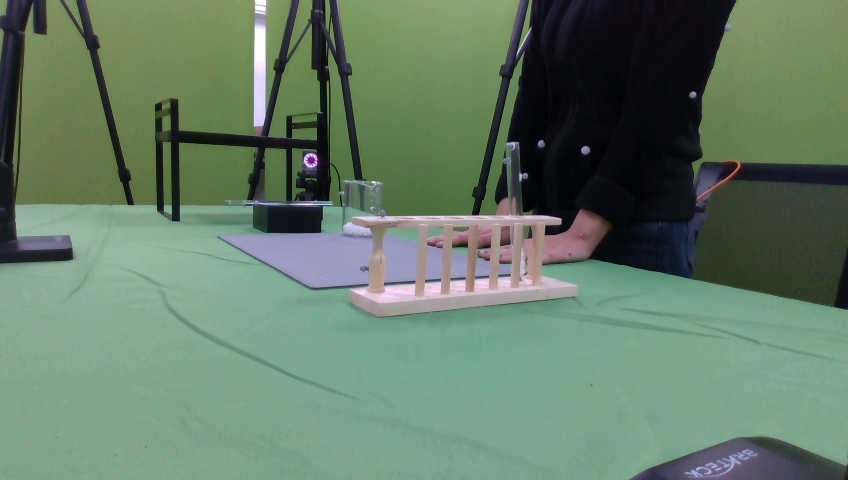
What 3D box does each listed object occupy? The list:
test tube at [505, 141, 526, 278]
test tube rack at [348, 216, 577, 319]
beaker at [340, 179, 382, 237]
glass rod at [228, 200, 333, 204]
[{"bbox_3d":[0.101,-0.032,0.664,0.017,0.150,0.017,-5,8,1],"label":"test tube"},{"bbox_3d":[0.048,0.021,0.619,0.244,0.085,0.066,-2,8,-31],"label":"test tube rack"},{"bbox_3d":[-0.113,-0.058,1.094,0.074,0.100,0.083,-2,10,-29],"label":"beaker"},{"bbox_3d":[-0.268,-0.071,1.143,0.201,0.008,0.008,-1,8,-29],"label":"glass rod"}]
